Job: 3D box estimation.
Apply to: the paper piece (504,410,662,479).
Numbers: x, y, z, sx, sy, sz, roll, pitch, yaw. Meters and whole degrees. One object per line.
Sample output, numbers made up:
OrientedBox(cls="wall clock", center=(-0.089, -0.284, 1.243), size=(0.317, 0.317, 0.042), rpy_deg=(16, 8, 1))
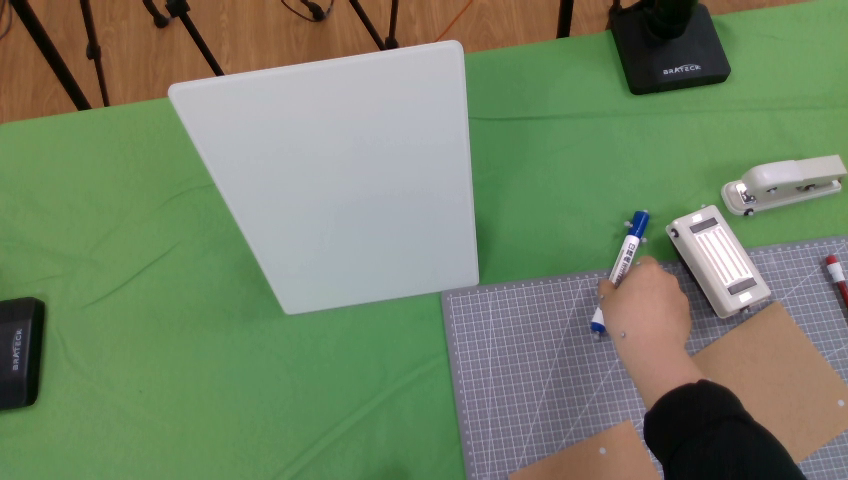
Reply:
OrientedBox(cls="paper piece", center=(0.166, 0.251, 0.578), size=(0.135, 0.004, 0.134), rpy_deg=(-22, 71, -4))

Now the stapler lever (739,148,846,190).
OrientedBox(cls="stapler lever", center=(0.399, -0.079, 0.653), size=(0.118, 0.040, 0.026), rpy_deg=(-13, 72, -2))

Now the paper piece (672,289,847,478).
OrientedBox(cls="paper piece", center=(0.345, 0.141, 0.608), size=(0.136, 0.009, 0.137), rpy_deg=(-30, 73, -3))

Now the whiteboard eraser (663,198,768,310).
OrientedBox(cls="whiteboard eraser", center=(0.303, 0.015, 0.637), size=(0.055, 0.042, 0.112), rpy_deg=(-23, 70, -3))

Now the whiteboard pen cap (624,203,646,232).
OrientedBox(cls="whiteboard pen cap", center=(0.233, -0.023, 0.667), size=(0.018, 0.018, 0.033), rpy_deg=(21, 70, 11))

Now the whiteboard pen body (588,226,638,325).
OrientedBox(cls="whiteboard pen body", center=(0.207, 0.027, 0.651), size=(0.017, 0.017, 0.140), rpy_deg=(24, 73, 12))

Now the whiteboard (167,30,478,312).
OrientedBox(cls="whiteboard", center=(-0.069, -0.086, 0.590), size=(0.217, 0.308, 0.142), rpy_deg=(-8, 50, 1))

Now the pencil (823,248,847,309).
OrientedBox(cls="pencil", center=(0.448, 0.098, 0.616), size=(0.012, 0.012, 0.192), rpy_deg=(-12, 72, -1))

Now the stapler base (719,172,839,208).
OrientedBox(cls="stapler base", center=(0.399, -0.070, 0.675), size=(0.130, 0.024, 0.041), rpy_deg=(-13, 73, -3))
